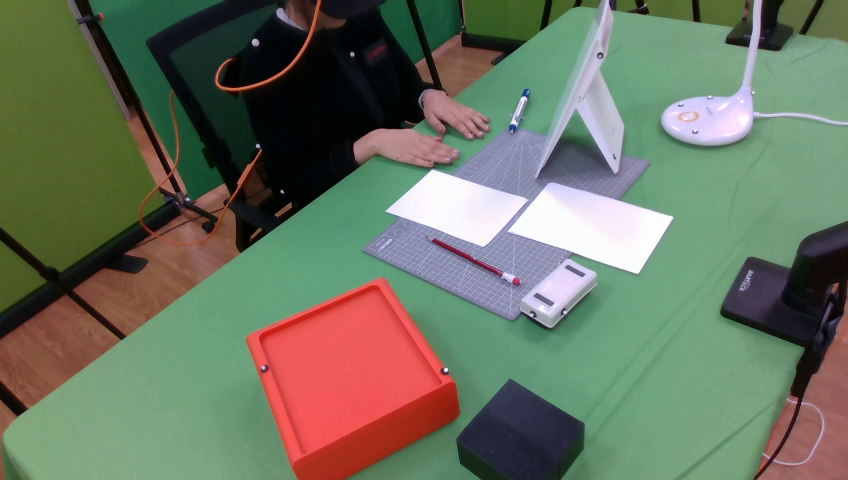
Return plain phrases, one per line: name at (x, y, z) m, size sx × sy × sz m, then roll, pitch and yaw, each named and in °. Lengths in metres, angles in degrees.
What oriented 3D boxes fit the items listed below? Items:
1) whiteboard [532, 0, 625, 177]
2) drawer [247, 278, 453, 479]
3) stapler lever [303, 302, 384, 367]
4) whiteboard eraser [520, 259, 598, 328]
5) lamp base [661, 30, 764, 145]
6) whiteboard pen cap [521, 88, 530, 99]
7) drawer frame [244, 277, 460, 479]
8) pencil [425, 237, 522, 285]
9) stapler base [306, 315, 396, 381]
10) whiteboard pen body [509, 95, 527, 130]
whiteboard at (0.321, -0.258, 1.050) m, size 0.144 × 0.306 × 0.217 m, roll 21°, pitch 45°, yaw 5°
drawer at (-0.096, 0.167, 0.758) m, size 0.195 × 0.073 × 0.210 m, roll -22°, pitch 43°, yaw -16°
stapler lever at (-0.108, 0.124, 0.806) m, size 0.118 × 0.040 × 0.026 m, roll -27°, pitch 36°, yaw -15°
whiteboard eraser at (0.189, 0.076, 0.843) m, size 0.055 × 0.042 × 0.113 m, roll 29°, pitch 53°, yaw 37°
lamp base at (0.535, -0.287, 1.096) m, size 0.179 × 0.181 × 0.159 m, roll -10°, pitch 40°, yaw -4°
whiteboard pen cap at (0.218, -0.312, 1.301) m, size 0.018 × 0.018 × 0.033 m, roll 6°, pitch 46°, yaw 18°
drawer frame at (-0.093, 0.167, 0.755) m, size 0.202 × 0.083 × 0.211 m, roll -23°, pitch 43°, yaw -17°
pencil at (0.071, 0.029, 0.941) m, size 0.192 × 0.012 × 0.012 m, roll 26°, pitch 51°, yaw 37°
stapler base at (-0.101, 0.139, 0.819) m, size 0.131 × 0.024 × 0.041 m, roll -31°, pitch 37°, yaw -13°
whiteboard pen body at (0.199, -0.273, 1.261) m, size 0.017 × 0.017 × 0.140 m, roll 8°, pitch 44°, yaw 19°
